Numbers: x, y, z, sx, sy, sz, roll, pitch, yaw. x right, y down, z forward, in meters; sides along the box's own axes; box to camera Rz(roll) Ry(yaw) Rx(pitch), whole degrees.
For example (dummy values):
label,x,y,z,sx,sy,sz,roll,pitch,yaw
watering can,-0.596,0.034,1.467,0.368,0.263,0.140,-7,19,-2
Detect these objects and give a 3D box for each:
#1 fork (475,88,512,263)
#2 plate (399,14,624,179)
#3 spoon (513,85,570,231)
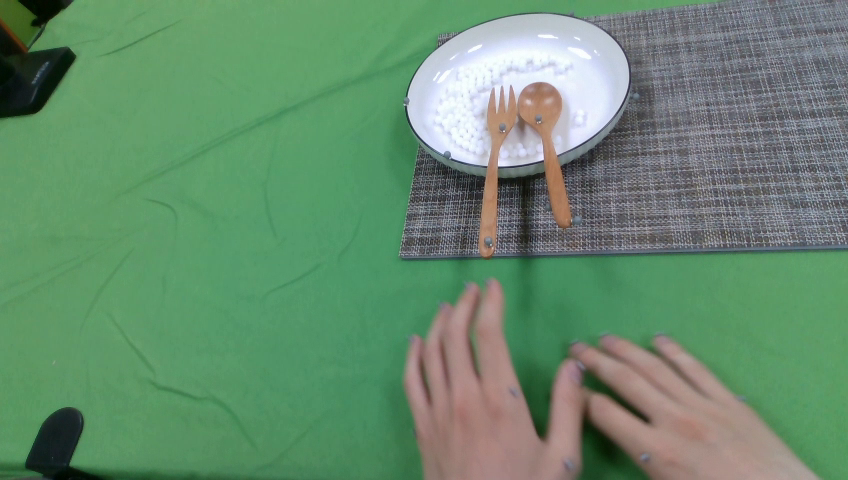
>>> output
label,x,y,z,sx,sy,sz,roll,pitch,yaw
fork,0.057,-0.063,0.512,0.028,0.019,0.205,0,47,13
plate,0.080,-0.134,0.574,0.207,0.039,0.205,-8,54,11
spoon,0.100,-0.075,0.507,0.041,0.022,0.192,-6,40,8
